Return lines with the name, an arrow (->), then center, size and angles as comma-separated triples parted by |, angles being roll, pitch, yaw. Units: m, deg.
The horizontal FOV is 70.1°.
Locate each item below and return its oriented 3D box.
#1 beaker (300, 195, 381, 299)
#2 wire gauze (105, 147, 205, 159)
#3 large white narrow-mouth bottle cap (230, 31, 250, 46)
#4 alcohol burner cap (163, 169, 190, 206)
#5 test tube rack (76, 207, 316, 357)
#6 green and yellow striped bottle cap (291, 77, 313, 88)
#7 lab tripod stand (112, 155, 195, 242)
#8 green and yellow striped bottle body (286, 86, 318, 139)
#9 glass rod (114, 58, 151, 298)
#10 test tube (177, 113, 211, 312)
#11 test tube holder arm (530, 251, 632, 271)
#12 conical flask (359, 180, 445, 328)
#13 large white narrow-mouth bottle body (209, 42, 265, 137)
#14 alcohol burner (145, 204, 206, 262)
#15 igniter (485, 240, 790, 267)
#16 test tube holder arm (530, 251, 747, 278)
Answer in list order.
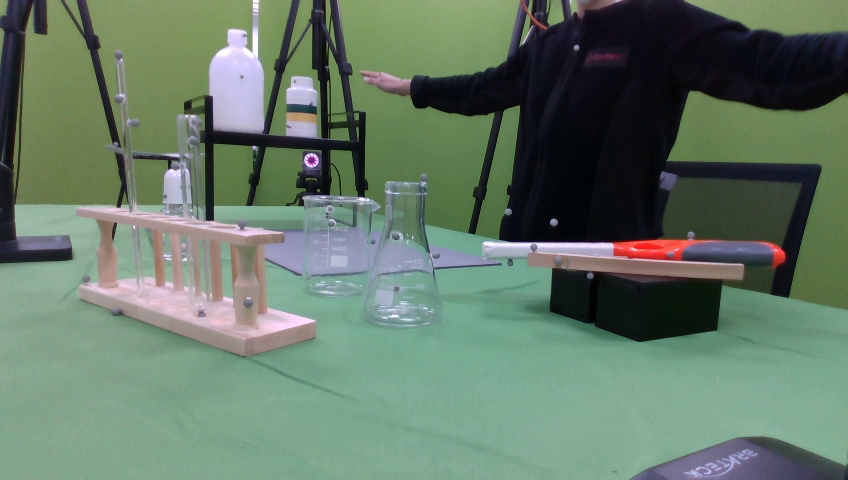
beaker -> -0.087, 0.006, 0.626 | 0.084, 0.100, 0.074 | 1, 8, -17
wire gauze -> -0.407, -0.131, 0.929 | 0.125, 0.011, 0.121 | 2, 6, -11
large white narrow-mouth bottle cap -> -0.355, -0.388, 1.167 | 0.038, 0.024, 0.037 | 4, 6, 0
alcohol burner cap -> -0.320, -0.068, 0.782 | 0.034, 0.048, 0.034 | 1, 7, 0
test tube rack -> -0.196, 0.023, 0.500 | 0.241, 0.085, 0.067 | 8, 9, 36
green and yellow striped bottle cap -> -0.250, -0.321, 1.238 | 0.045, 0.020, 0.045 | 3, 6, 0
lab tripod stand -> -0.405, -0.064, 0.931 | 0.148, 0.131, 0.148 | 1, 7, 0
green and yellow striped bottle body -> -0.251, -0.270, 1.245 | 0.063, 0.119, 0.063 | 2, 7, 0
glass rod -> -0.236, -0.044, 0.492 | 0.008, 0.199, 0.008 | 0, 15, 0
test tube -> -0.174, -0.020, 0.458 | 0.017, 0.150, 0.017 | -2, 5, 0
test tube holder arm -> 0.139, 0.019, 0.538 | 0.087, 0.015, 0.010 | 3, 7, 13
conical flask -> -0.017, 0.010, 0.522 | 0.075, 0.122, 0.075 | 2, 7, 0
large white narrow-mouth bottle body -> -0.361, -0.303, 1.175 | 0.102, 0.194, 0.102 | 4, 6, 0
alcohol burner -> -0.321, -0.032, 0.788 | 0.078, 0.119, 0.078 | 0, 7, 0
igniter -> 0.197, 0.012, 0.585 | 0.276, 0.025, 0.057 | 1, 5, 12
test tube holder arm -> 0.182, 0.022, 0.523 | 0.178, 0.015, 0.013 | 3, 7, 12
